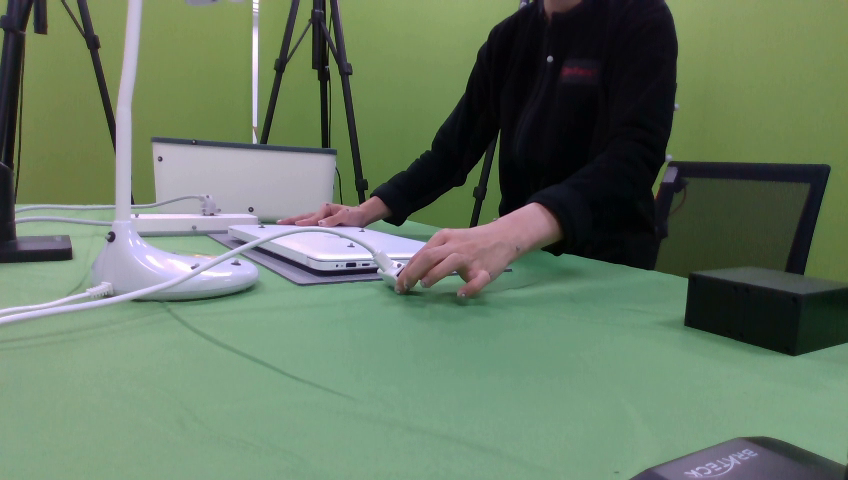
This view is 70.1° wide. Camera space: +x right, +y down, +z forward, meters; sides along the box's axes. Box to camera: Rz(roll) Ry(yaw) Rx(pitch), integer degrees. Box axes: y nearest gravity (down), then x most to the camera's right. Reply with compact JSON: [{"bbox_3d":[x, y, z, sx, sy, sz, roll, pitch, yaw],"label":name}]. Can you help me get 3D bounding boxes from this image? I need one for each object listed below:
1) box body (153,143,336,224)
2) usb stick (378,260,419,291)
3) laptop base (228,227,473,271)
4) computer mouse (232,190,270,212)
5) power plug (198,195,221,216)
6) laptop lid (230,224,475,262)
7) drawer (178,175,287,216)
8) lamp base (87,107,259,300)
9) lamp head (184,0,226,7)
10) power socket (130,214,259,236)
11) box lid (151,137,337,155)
[{"bbox_3d":[-0.380,-0.130,1.344,0.365,0.160,0.253,1,7,-9],"label":"box body"},{"bbox_3d":[-0.031,0.038,0.660,0.021,0.027,0.059,-48,19,-16],"label":"usb stick"},{"bbox_3d":[-0.122,0.011,0.889,0.237,0.023,0.352,2,6,-35],"label":"laptop base"},{"bbox_3d":[-0.382,-0.086,1.342,0.063,0.041,0.117,10,10,-4],"label":"computer mouse"},{"bbox_3d":[-0.386,-0.055,1.088,0.035,0.052,0.072,-1,6,-24],"label":"power plug"},{"bbox_3d":[-0.119,0.000,0.889,0.243,0.013,0.355,1,7,-33],"label":"laptop lid"},{"bbox_3d":[-0.414,-0.104,1.341,0.212,0.073,0.194,5,6,-11],"label":"drawer"},{"bbox_3d":[-0.254,-0.039,0.603,0.160,0.180,0.179,5,10,18],"label":"lamp base"},{"bbox_3d":[-0.229,-0.320,0.627,0.112,0.112,0.123,6,-36,26],"label":"lamp head"},{"bbox_3d":[-0.397,-0.028,1.048,0.228,0.032,0.072,-3,7,-35],"label":"power socket"},{"bbox_3d":[-0.379,-0.203,1.334,0.372,0.015,0.262,2,7,-9],"label":"box lid"}]
